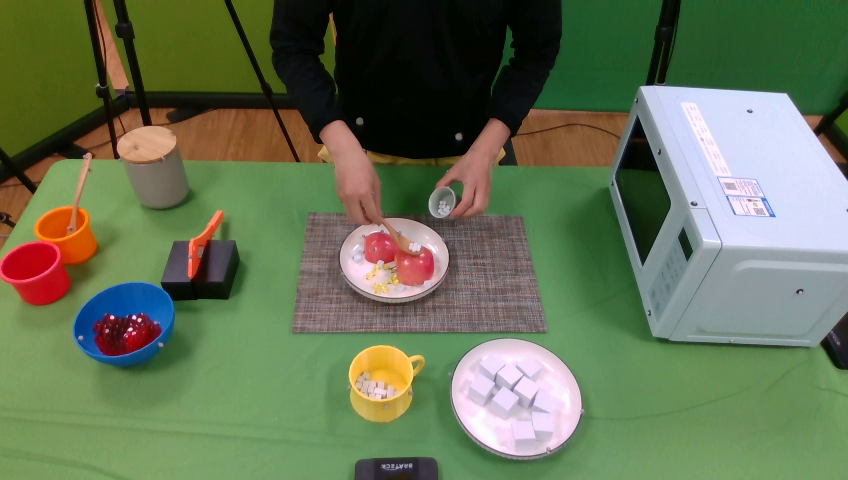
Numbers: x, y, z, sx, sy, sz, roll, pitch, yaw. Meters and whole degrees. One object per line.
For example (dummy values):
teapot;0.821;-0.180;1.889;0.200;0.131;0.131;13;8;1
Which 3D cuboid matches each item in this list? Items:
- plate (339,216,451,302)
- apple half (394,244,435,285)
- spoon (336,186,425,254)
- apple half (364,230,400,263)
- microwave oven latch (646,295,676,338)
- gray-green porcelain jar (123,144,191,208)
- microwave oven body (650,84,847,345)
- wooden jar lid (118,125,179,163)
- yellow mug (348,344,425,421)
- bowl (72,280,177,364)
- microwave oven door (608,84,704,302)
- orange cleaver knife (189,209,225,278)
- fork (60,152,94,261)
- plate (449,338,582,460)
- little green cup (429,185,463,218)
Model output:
plate;-0.054;0.038;1.137;0.209;0.038;0.208;2;46;-2
apple half;-0.017;0.037;1.120;0.075;0.053;0.080;1;46;-6
spoon;-0.078;-0.036;1.082;0.194;0.021;0.041;41;32;-4
apple half;-0.080;0.005;1.160;0.081;0.033;0.081;3;49;-3
microwave oven latch;0.413;0.133;1.060;0.030;0.029;0.078;4;46;1
gray-green porcelain jar;-0.531;-0.137;1.213;0.106;0.127;0.105;2;47;-2
microwave oven body;0.569;-0.054;1.115;0.326;0.261;0.439;2;46;-1
wooden jar lid;-0.528;-0.181;1.167;0.108;0.021;0.107;4;48;-4
yellow mug;-0.054;0.217;0.954;0.131;0.064;0.099;-24;53;-25
bowl;-0.472;0.147;0.982;0.151;0.077;0.150;2;46;-2
microwave oven door;0.424;-0.096;1.138;0.039;0.245;0.353;2;47;-1
orange cleaver knife;-0.400;0.002;1.122;0.012;0.077;0.210;4;23;-4
fork;-0.638;-0.063;1.119;0.028;0.018;0.207;12;90;7
plate;0.141;0.251;0.955;0.208;0.039;0.206;2;47;-2
little green cup;0.044;-0.070;1.148;0.061;0.039;0.061;-6;77;28
